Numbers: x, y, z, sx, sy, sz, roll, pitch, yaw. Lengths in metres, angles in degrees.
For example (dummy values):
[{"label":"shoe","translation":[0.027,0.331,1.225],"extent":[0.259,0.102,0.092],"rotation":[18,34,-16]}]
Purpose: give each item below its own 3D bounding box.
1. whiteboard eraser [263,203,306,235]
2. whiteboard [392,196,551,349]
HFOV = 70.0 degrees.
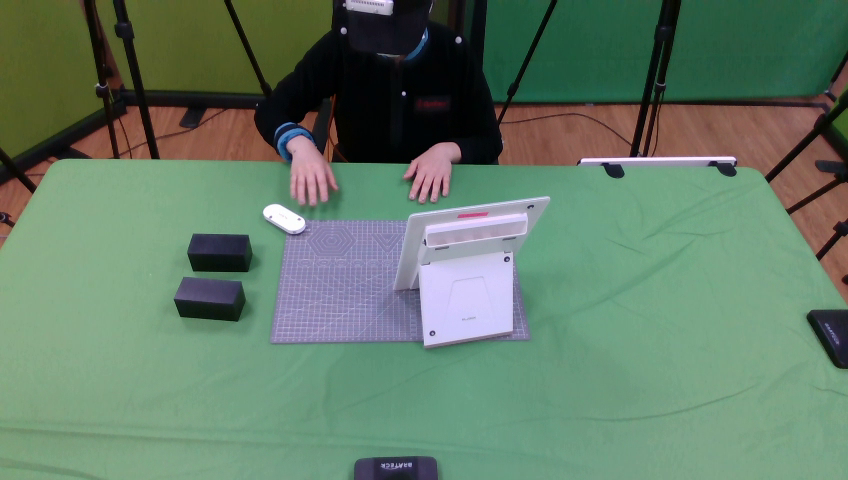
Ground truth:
[{"label":"whiteboard eraser","translation":[-0.281,-0.043,1.216],"extent":[0.101,0.019,0.041],"rotation":[29,53,25]},{"label":"whiteboard","translation":[0.077,0.071,0.977],"extent":[0.217,0.306,0.143],"rotation":[-7,67,-11]}]
